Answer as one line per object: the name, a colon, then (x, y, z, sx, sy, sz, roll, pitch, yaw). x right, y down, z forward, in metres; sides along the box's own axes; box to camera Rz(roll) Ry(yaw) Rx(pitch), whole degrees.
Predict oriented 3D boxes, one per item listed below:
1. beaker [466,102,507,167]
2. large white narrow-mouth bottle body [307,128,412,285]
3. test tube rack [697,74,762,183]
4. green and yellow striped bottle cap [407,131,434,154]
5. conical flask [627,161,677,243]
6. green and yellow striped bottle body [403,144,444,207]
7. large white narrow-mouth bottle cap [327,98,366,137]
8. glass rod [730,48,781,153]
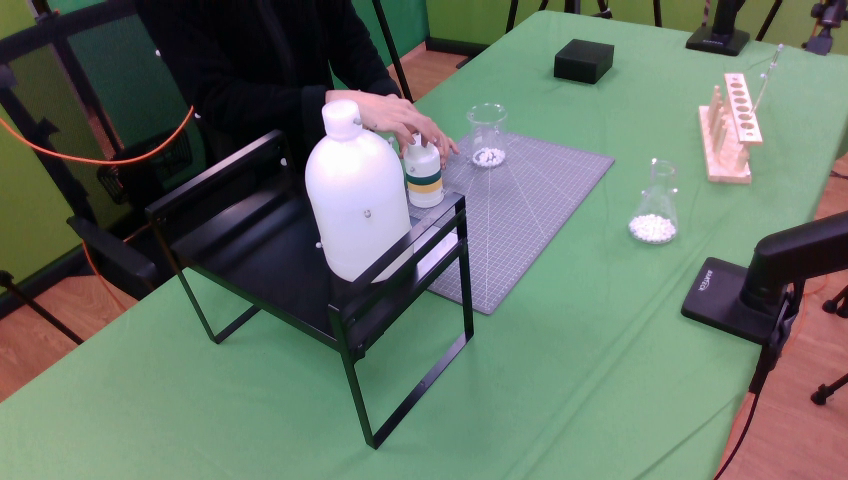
beaker: (0.121, -0.195, 1.124, 0.084, 0.101, 0.073, -34, 48, -28)
large white narrow-mouth bottle body: (-0.070, -0.051, 0.638, 0.102, 0.195, 0.101, -3, 40, 3)
test tube rack: (0.547, -0.208, 1.095, 0.066, 0.085, 0.242, 5, 42, 15)
green and yellow striped bottle cap: (-0.005, -0.162, 1.004, 0.045, 0.020, 0.045, -5, 39, 5)
conical flask: (0.355, -0.061, 0.921, 0.075, 0.122, 0.075, -4, 41, 4)
green and yellow striped bottle body: (-0.001, -0.121, 1.039, 0.063, 0.120, 0.063, -4, 40, 4)
large white narrow-mouth bottle cap: (-0.075, -0.118, 0.582, 0.038, 0.024, 0.037, -3, 40, 3)
glass rod: (0.554, -0.228, 1.015, 0.008, 0.200, 0.008, 1, 44, -1)
